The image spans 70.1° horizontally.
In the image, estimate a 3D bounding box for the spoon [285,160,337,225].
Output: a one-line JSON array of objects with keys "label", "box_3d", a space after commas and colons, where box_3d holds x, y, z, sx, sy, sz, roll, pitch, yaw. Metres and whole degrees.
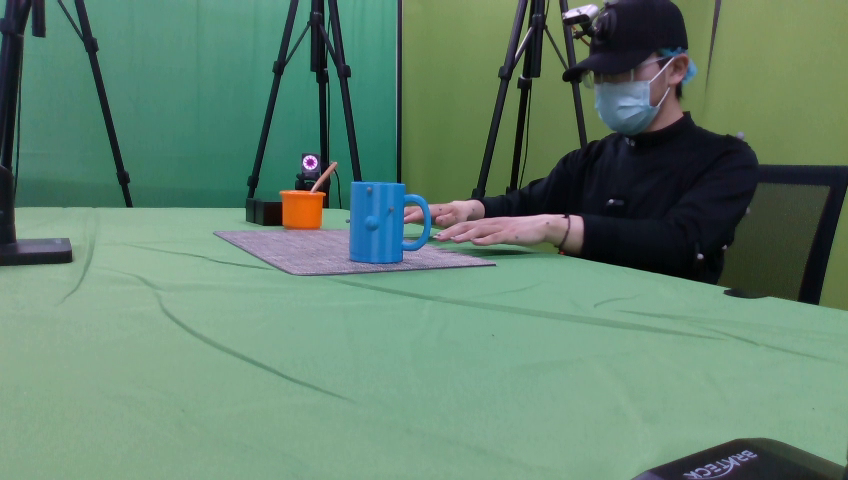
[{"label": "spoon", "box_3d": [-0.229, -0.101, 1.251, 0.041, 0.194, 0.022, 3, -38, 34]}]

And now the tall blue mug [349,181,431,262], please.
[{"label": "tall blue mug", "box_3d": [-0.051, -0.028, 0.849, 0.108, 0.108, 0.077, -1, 7, -22]}]
